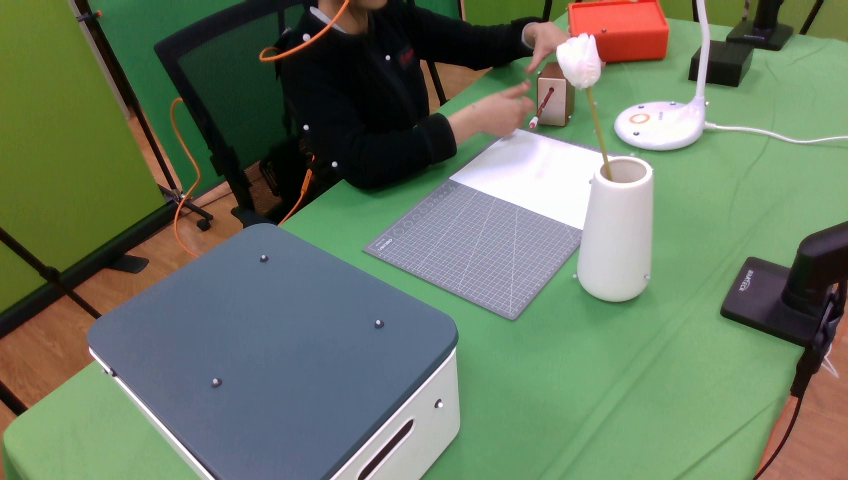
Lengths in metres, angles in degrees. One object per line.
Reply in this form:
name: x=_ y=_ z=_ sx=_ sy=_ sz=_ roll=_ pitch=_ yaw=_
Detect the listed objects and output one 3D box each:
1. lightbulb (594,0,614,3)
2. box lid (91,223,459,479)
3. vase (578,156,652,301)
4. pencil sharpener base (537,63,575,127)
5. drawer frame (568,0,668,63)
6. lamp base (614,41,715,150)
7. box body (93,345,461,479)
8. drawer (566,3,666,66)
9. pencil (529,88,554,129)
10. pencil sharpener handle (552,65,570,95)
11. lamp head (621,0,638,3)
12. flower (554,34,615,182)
lightbulb: x=0.305 y=-0.437 z=0.977 sx=0.060 sy=0.107 sz=0.059 roll=12 pitch=44 yaw=-11
box lid: x=-0.174 y=0.102 z=0.666 sx=0.368 sy=0.015 sz=0.264 roll=24 pitch=49 yaw=35
vase: x=0.261 y=-0.011 z=0.812 sx=0.098 sy=0.201 sz=0.097 roll=-4 pitch=40 yaw=4
pencil sharpener base: x=0.267 y=-0.292 z=1.216 sx=0.061 sy=0.107 sz=0.076 roll=9 pitch=43 yaw=22
drawer frame: x=0.450 y=-0.496 z=1.441 sx=0.213 sy=0.083 sz=0.201 roll=-1 pitch=40 yaw=9
lamp base: x=0.449 y=-0.277 z=1.106 sx=0.179 sy=0.181 sz=0.160 roll=1 pitch=41 yaw=9
box body: x=-0.162 y=0.170 z=0.708 sx=0.361 sy=0.161 sz=0.255 roll=25 pitch=50 yaw=34
drawer: x=0.448 y=-0.493 z=1.441 sx=0.211 sy=0.073 sz=0.194 roll=0 pitch=40 yaw=10
pencil: x=0.231 y=-0.262 z=1.145 sx=0.012 sy=0.012 sz=0.194 roll=11 pitch=45 yaw=23
pencil sharpener handle: x=0.283 y=-0.334 z=1.244 sx=0.036 sy=0.068 sz=0.030 roll=16 pitch=45 yaw=17
lamp head: x=0.319 y=-0.453 z=0.962 sx=0.113 sy=0.123 sz=0.112 roll=20 pitch=33 yaw=-13
flower: x=0.237 y=-0.083 z=0.774 sx=0.044 sy=0.363 sz=0.038 roll=-22 pitch=26 yaw=6
